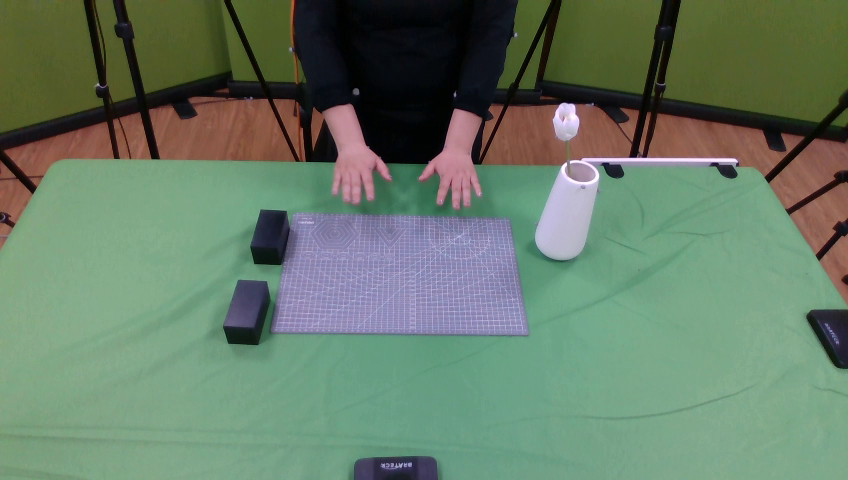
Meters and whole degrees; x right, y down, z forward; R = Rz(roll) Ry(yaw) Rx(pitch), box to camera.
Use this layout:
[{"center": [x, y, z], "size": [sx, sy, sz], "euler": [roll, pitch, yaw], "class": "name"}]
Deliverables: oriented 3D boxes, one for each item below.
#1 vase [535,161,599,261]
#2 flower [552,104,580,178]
[{"center": [0.270, -0.051, 1.145], "size": [0.098, 0.201, 0.097], "euler": [1, 46, -1], "class": "vase"}, {"center": [0.258, -0.102, 1.080], "size": [0.038, 0.364, 0.044], "euler": [-25, 55, -2], "class": "flower"}]
